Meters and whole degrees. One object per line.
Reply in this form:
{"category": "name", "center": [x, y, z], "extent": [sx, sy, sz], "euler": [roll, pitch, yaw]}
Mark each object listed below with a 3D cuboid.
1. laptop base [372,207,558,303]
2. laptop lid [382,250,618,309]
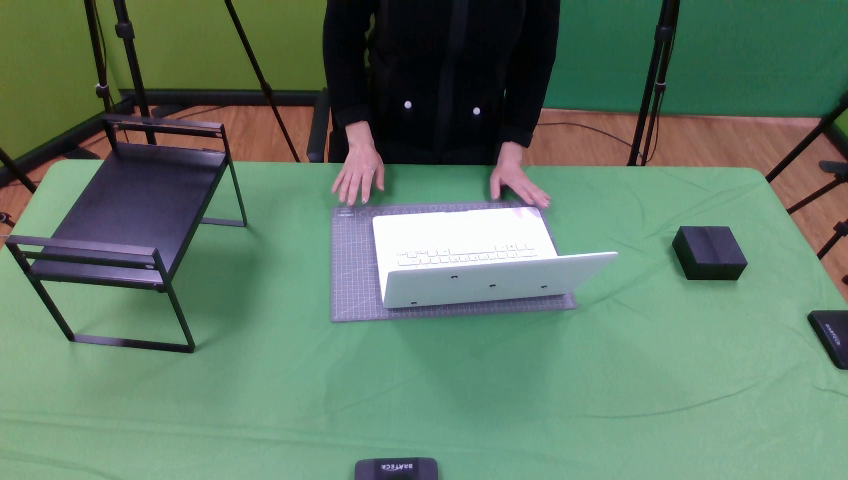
{"category": "laptop base", "center": [0.083, 0.027, 1.178], "extent": [0.355, 0.023, 0.234], "euler": [-4, 43, -8]}
{"category": "laptop lid", "center": [0.110, 0.070, 0.989], "extent": [0.357, 0.242, 0.013], "euler": [-4, 70, -9]}
